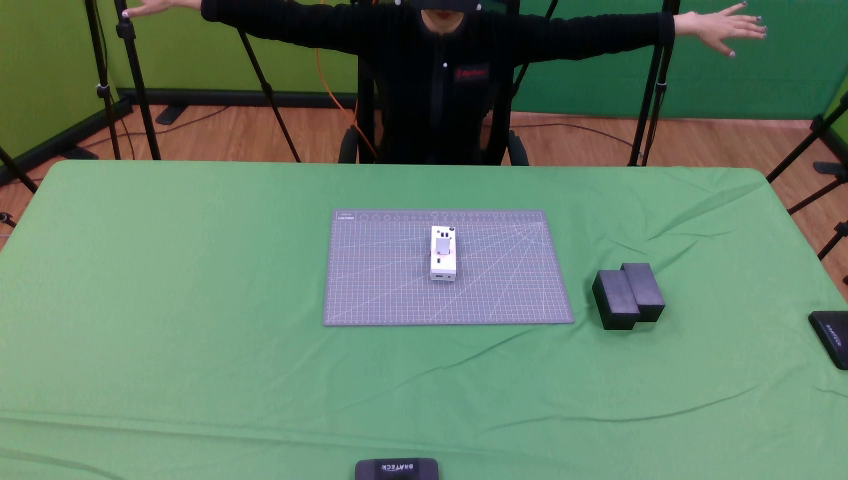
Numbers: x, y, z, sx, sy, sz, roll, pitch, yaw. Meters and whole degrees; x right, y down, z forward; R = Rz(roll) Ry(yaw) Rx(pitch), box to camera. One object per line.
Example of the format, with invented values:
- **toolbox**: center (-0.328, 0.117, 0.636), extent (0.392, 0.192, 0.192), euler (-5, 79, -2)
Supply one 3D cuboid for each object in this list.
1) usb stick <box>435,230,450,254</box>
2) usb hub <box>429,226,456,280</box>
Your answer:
- **usb stick**: center (0.034, 0.009, 1.146), extent (0.027, 0.059, 0.021), euler (3, 46, -4)
- **usb hub**: center (0.037, 0.024, 1.173), extent (0.049, 0.025, 0.124), euler (3, 46, -2)
